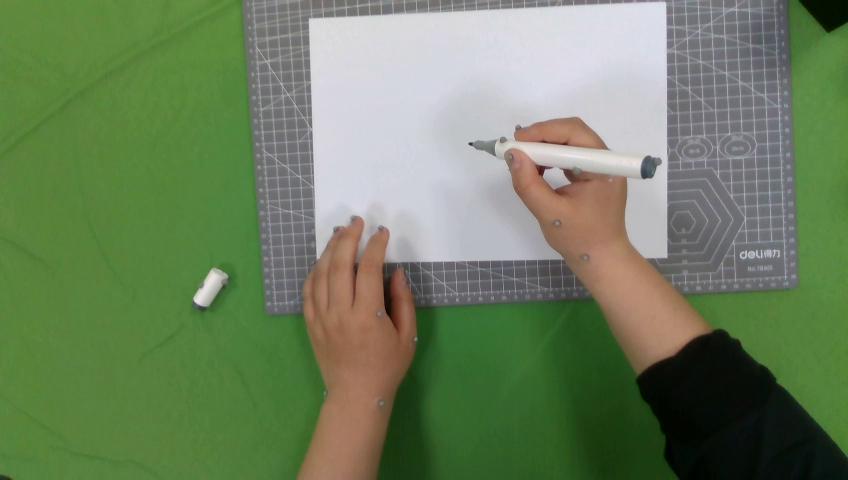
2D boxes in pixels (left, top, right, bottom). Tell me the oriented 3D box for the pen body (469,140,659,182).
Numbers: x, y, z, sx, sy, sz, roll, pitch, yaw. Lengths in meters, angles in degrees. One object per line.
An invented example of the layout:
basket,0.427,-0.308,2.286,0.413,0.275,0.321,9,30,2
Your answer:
pen body,0.088,-0.056,0.416,0.143,0.017,0.017,15,94,39

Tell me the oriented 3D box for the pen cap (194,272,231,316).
pen cap,-0.186,0.048,0.531,0.017,0.017,0.038,34,94,3
